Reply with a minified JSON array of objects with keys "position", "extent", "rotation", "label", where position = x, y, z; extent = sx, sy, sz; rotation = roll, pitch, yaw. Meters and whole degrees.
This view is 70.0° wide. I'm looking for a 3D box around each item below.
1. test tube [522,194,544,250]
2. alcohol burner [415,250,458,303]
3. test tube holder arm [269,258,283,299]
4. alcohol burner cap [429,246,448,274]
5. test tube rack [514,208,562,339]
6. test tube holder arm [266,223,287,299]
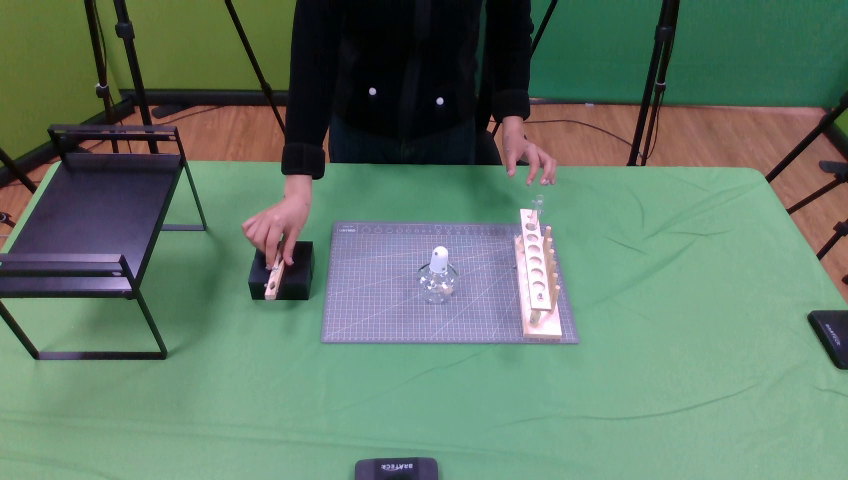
[{"position":[0.201,-0.029,1.125],"extent":[0.017,0.151,0.017],"rotation":[2,51,-2],"label":"test tube"},{"position":[0.024,0.057,1.078],"extent":[0.078,0.119,0.077],"rotation":[3,44,-3],"label":"alcohol burner"},{"position":[-0.256,0.066,1.051],"extent":[0.010,0.015,0.087],"rotation":[8,45,-8],"label":"test tube holder arm"},{"position":[0.027,0.032,1.052],"extent":[0.034,0.048,0.033],"rotation":[4,41,-3],"label":"alcohol burner cap"},{"position":[0.212,0.056,1.113],"extent":[0.067,0.085,0.241],"rotation":[3,46,-1],"label":"test tube rack"},{"position":[-0.262,0.033,1.081],"extent":[0.013,0.015,0.177],"rotation":[7,45,-9],"label":"test tube holder arm"}]
